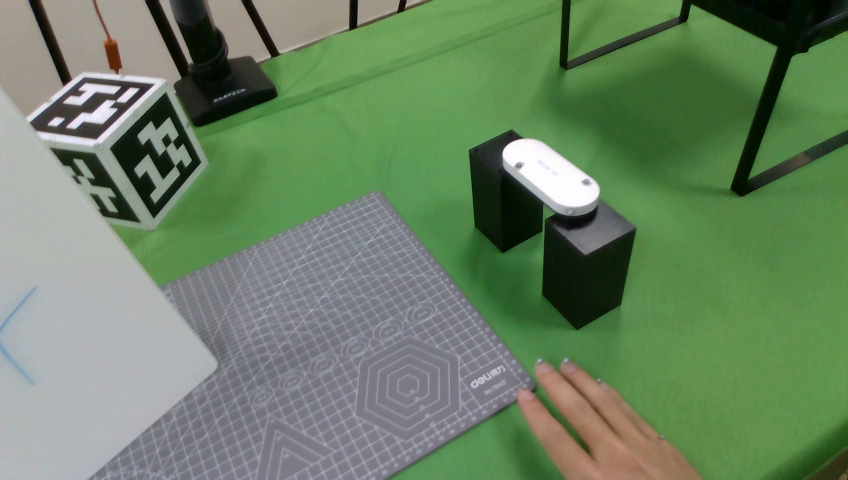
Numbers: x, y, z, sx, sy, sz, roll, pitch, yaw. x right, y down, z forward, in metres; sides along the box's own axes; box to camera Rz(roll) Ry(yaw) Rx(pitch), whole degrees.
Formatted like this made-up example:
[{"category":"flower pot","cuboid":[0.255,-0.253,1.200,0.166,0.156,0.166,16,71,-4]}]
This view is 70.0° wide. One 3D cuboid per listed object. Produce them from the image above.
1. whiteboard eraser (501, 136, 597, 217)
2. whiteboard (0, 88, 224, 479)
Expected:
[{"category":"whiteboard eraser","cuboid":[0.103,-0.056,0.508,0.041,0.019,0.100,-28,50,-18]},{"category":"whiteboard","cuboid":[-0.347,0.049,0.460,0.142,0.308,0.217,15,49,47]}]
